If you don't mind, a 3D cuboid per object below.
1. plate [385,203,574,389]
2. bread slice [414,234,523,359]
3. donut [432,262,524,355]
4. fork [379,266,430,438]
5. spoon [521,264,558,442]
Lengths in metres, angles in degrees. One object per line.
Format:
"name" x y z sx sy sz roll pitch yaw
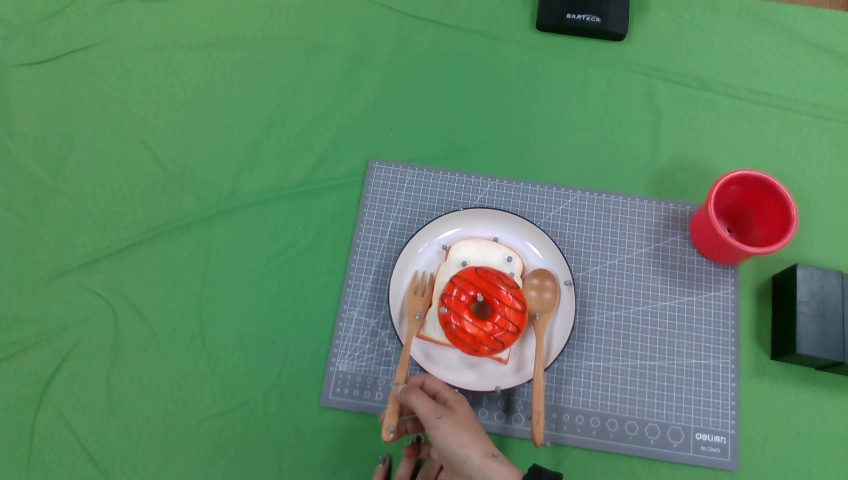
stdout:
"plate" 0.061 0.062 0.675 0.209 0.038 0.208 0 72 -1
"bread slice" 0.055 0.057 0.680 0.105 0.019 0.131 15 74 3
"donut" 0.058 0.072 0.644 0.099 0.048 0.098 1 77 -3
"fork" -0.020 0.107 0.627 0.028 0.019 0.205 15 45 -2
"spoon" 0.120 0.115 0.645 0.041 0.022 0.192 5 59 7
